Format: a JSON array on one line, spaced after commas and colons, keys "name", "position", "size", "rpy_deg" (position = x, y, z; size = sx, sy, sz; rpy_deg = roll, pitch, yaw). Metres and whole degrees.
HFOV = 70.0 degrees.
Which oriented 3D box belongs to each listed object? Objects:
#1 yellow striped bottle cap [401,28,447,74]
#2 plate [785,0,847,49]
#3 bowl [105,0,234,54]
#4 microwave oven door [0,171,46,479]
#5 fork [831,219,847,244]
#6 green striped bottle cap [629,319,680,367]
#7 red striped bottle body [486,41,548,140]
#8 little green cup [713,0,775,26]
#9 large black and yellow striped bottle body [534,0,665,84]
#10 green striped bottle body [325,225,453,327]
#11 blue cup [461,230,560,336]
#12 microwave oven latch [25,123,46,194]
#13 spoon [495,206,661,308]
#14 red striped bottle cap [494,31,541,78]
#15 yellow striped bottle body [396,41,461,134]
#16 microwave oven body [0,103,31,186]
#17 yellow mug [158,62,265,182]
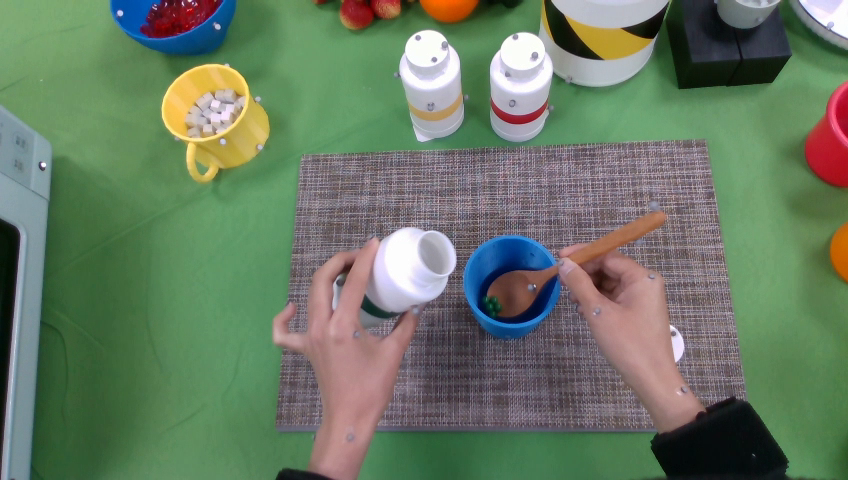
[{"name": "yellow striped bottle cap", "position": [0.000, -0.187, 0.599], "size": [0.044, 0.019, 0.044], "rpy_deg": [-1, 72, 5]}, {"name": "plate", "position": [0.506, -0.294, 0.684], "size": [0.209, 0.038, 0.207], "rpy_deg": [-2, 71, 5]}, {"name": "bowl", "position": [-0.296, -0.284, 0.743], "size": [0.151, 0.077, 0.150], "rpy_deg": [-2, 70, 5]}, {"name": "microwave oven door", "position": [-0.432, 0.077, 0.521], "size": [0.039, 0.245, 0.353], "rpy_deg": [-11, 69, 3]}, {"name": "fork", "position": [0.454, 0.019, 0.518], "size": [0.028, 0.019, 0.205], "rpy_deg": [-39, 27, -7]}, {"name": "green striped bottle cap", "position": [0.221, 0.098, 0.581], "size": [0.044, 0.020, 0.044], "rpy_deg": [-2, 66, 5]}, {"name": "red striped bottle body", "position": [0.098, -0.161, 0.636], "size": [0.063, 0.120, 0.062], "rpy_deg": [-3, 68, 9]}, {"name": "little green cup", "position": [0.336, -0.258, 0.635], "size": [0.061, 0.039, 0.061], "rpy_deg": [-1, 69, 4]}, {"name": "large black and yellow striped bottle body", "position": [0.185, -0.266, 0.630], "size": [0.130, 0.185, 0.130], "rpy_deg": [-2, 70, 6]}, {"name": "green striped bottle body", "position": [-0.028, 0.029, 0.504], "size": [0.064, 0.119, 0.062], "rpy_deg": [18, 59, -33]}, {"name": "blue cup", "position": [0.078, 0.049, 0.568], "size": [0.092, 0.101, 0.092], "rpy_deg": [-1, 69, 4]}, {"name": "microwave oven latch", "position": [-0.453, -0.091, 0.692], "size": [0.030, 0.030, 0.078], "rpy_deg": [-9, 70, 3]}, {"name": "spoon", "position": [0.117, 0.019, 0.510], "size": [0.022, 0.194, 0.041], "rpy_deg": [-6, 70, -36]}, {"name": "red striped bottle cap", "position": [0.091, -0.180, 0.587], "size": [0.044, 0.018, 0.044], "rpy_deg": [0, 69, 2]}, {"name": "yellow striped bottle body", "position": [0.006, -0.169, 0.648], "size": [0.063, 0.121, 0.062], "rpy_deg": [-2, 70, 6]}, {"name": "microwave oven body", "position": [-0.581, 0.066, 0.546], "size": [0.326, 0.262, 0.438], "rpy_deg": [-11, 70, 2]}, {"name": "yellow mug", "position": [-0.244, -0.128, 0.688], "size": [0.100, 0.064, 0.130], "rpy_deg": [8, 72, 8]}]
